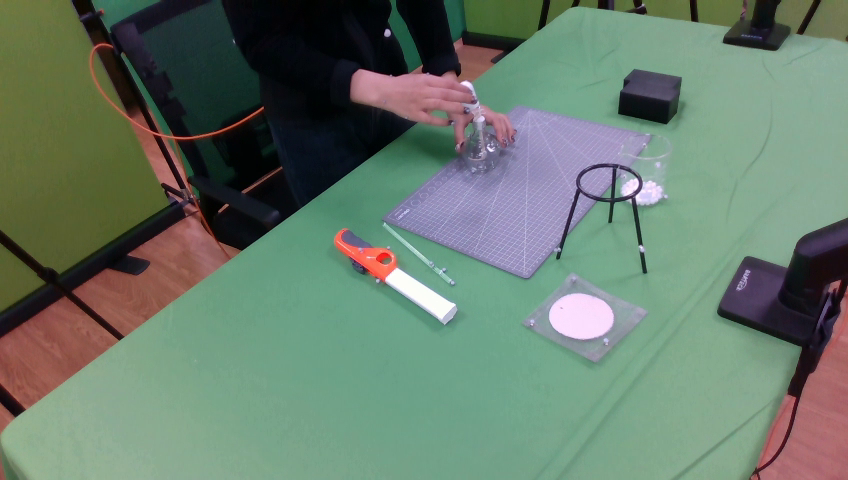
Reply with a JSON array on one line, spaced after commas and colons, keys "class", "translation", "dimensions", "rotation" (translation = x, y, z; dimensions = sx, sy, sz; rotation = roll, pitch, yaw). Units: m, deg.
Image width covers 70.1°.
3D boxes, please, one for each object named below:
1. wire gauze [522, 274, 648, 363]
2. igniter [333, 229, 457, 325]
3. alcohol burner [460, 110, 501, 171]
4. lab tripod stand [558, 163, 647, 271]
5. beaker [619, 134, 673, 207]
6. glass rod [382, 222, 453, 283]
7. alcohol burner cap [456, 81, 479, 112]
[{"class": "wire gauze", "translation": [0.220, 0.105, 0.828], "dimensions": [0.125, 0.011, 0.120], "rotation": [-35, 47, -30]}, {"class": "igniter", "translation": [-0.055, 0.049, 0.929], "dimensions": [0.057, 0.025, 0.274], "rotation": [-42, 49, -20]}, {"class": "alcohol burner", "translation": [0.102, -0.186, 1.105], "dimensions": [0.078, 0.119, 0.077], "rotation": [-4, 42, 5]}, {"class": "lab tripod stand", "translation": [0.271, -0.034, 0.885], "dimensions": [0.148, 0.132, 0.147], "rotation": [-4, 40, 4]}, {"class": "beaker", "translation": [0.357, -0.111, 0.986], "dimensions": [0.084, 0.101, 0.073], "rotation": [-10, 40, 1]}, {"class": "glass rod", "translation": [-0.014, 0.016, 0.976], "dimensions": [0.008, 0.008, 0.198], "rotation": [-30, 44, -22]}, {"class": "alcohol burner cap", "translation": [0.070, -0.243, 1.012], "dimensions": [0.034, 0.048, 0.033], "rotation": [-14, 36, 11]}]
